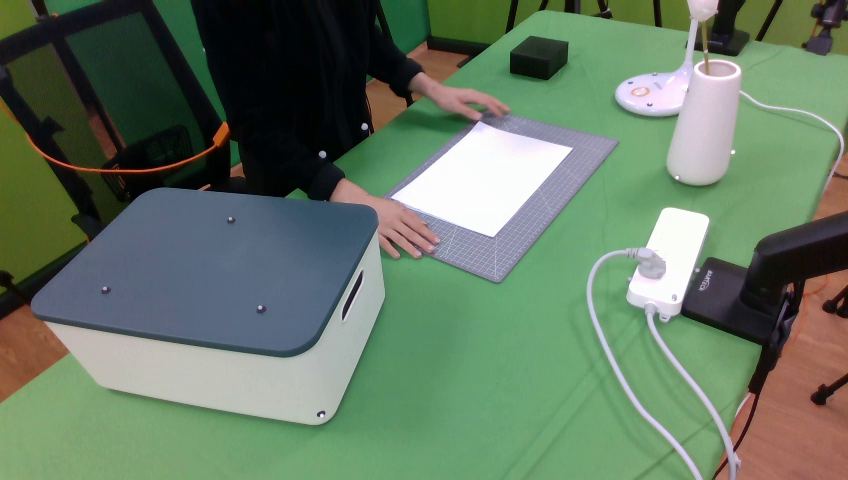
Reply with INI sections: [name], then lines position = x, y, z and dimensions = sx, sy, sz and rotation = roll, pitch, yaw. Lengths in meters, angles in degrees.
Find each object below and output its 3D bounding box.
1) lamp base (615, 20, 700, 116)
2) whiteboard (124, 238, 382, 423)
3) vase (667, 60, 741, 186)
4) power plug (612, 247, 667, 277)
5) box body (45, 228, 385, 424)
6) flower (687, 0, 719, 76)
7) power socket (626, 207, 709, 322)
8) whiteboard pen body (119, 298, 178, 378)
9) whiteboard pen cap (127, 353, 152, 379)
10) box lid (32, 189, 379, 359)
[lamp base]
position = 0.484, -0.364, 1.211
dimensions = 0.180, 0.181, 0.159
rotation = -15, 41, -14
[whiteboard]
position = -0.242, 0.094, 0.810
dimensions = 0.304, 0.144, 0.216
rotation = 4, 45, 13
[vase]
position = 0.463, -0.189, 0.994
dimensions = 0.098, 0.201, 0.097
rotation = -4, 40, 4
[power plug]
position = 0.306, 0.032, 0.852
dimensions = 0.072, 0.053, 0.035
rotation = 20, 47, 37
[box body]
position = -0.254, 0.082, 0.807
dimensions = 0.363, 0.161, 0.253
rotation = 5, 42, 14
[flower]
position = 0.436, -0.242, 0.934
dimensions = 0.038, 0.364, 0.043
rotation = -24, 49, 8
[power socket]
position = 0.360, 0.026, 0.886
dimensions = 0.072, 0.033, 0.227
rotation = 17, 46, 27
[whiteboard pen body]
position = -0.396, 0.139, 0.869
dimensions = 0.017, 0.017, 0.140
rotation = 6, 46, 15
[whiteboard pen cap]
position = -0.385, 0.171, 0.820
dimensions = 0.018, 0.018, 0.033
rotation = 7, 42, 16
[box lid]
position = -0.260, 0.025, 0.758
dimensions = 0.370, 0.015, 0.263
rotation = 5, 41, 14
